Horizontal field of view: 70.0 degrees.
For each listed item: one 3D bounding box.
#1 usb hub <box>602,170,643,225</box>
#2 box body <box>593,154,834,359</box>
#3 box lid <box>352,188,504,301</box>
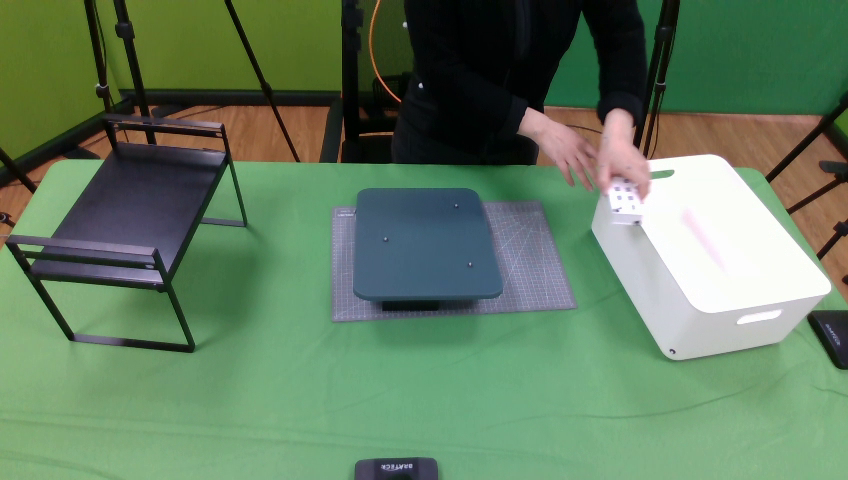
[{"bbox_3d":[0.334,-0.074,1.029,0.049,0.025,0.124,4,40,4],"label":"usb hub"},{"bbox_3d":[0.497,0.023,1.112,0.254,0.161,0.361,-7,47,-10],"label":"box body"},{"bbox_3d":[-0.002,-0.006,1.162,0.263,0.015,0.369,0,34,-5],"label":"box lid"}]
